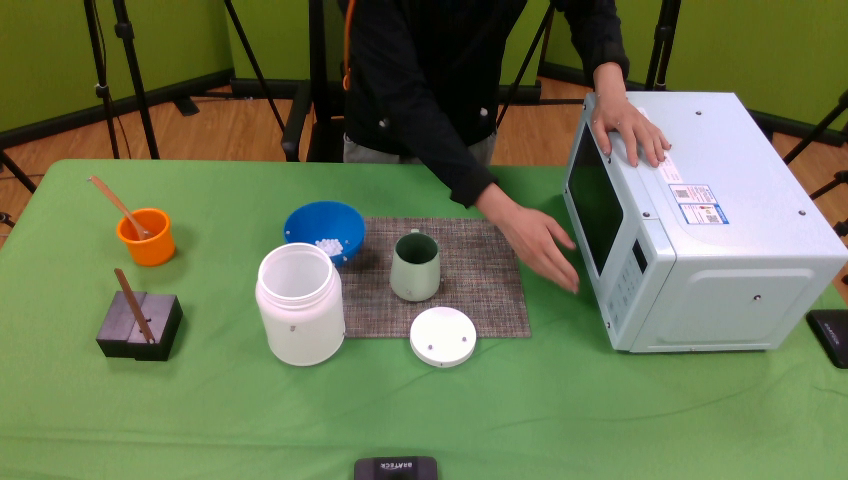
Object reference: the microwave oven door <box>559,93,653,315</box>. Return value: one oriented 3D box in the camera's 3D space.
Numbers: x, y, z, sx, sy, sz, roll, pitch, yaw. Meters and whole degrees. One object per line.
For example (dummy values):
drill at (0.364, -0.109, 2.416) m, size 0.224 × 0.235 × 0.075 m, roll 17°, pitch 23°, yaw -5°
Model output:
microwave oven door at (0.327, -0.074, 1.123) m, size 0.039 × 0.245 × 0.353 m, roll -1°, pitch 46°, yaw -5°

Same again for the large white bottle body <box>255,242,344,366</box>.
large white bottle body at (-0.196, 0.102, 0.967) m, size 0.131 × 0.185 × 0.130 m, roll 2°, pitch 49°, yaw -2°

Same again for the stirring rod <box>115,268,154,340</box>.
stirring rod at (-0.479, 0.103, 0.999) m, size 0.014 × 0.006 × 0.175 m, roll 8°, pitch 32°, yaw -49°

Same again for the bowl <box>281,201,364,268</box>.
bowl at (-0.187, 0.005, 1.138) m, size 0.151 × 0.077 × 0.150 m, roll 3°, pitch 46°, yaw -3°

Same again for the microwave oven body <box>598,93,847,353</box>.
microwave oven body at (0.475, -0.042, 1.109) m, size 0.326 × 0.261 × 0.438 m, roll -1°, pitch 45°, yaw -4°

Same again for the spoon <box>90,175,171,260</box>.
spoon at (-0.539, -0.042, 1.111) m, size 0.041 × 0.194 × 0.021 m, roll -45°, pitch 19°, yaw -32°

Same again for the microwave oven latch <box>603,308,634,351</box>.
microwave oven latch at (0.333, 0.153, 1.044) m, size 0.030 × 0.029 × 0.078 m, roll 0°, pitch 45°, yaw -3°

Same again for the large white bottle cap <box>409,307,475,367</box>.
large white bottle cap at (0.031, 0.165, 1.041) m, size 0.115 × 0.018 × 0.114 m, roll 2°, pitch 47°, yaw -2°

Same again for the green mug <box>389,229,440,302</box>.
green mug at (-0.017, 0.038, 1.100) m, size 0.092 × 0.105 × 0.124 m, roll -1°, pitch 46°, yaw -4°
